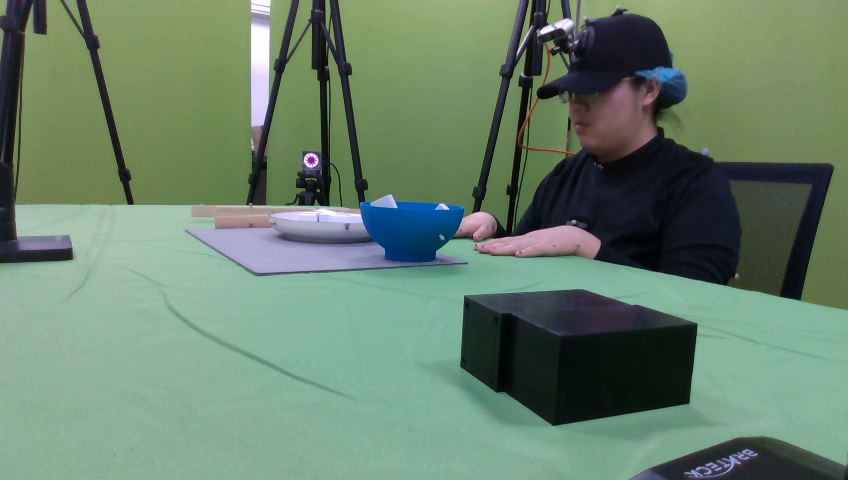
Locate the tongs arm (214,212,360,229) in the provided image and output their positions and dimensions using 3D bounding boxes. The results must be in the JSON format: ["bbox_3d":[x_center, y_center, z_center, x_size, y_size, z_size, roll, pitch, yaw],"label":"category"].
[{"bbox_3d":[-0.243,-0.043,1.237,0.390,0.028,0.028,-4,8,-44],"label":"tongs arm"}]

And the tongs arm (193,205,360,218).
[{"bbox_3d":[-0.289,-0.057,1.299,0.387,0.026,0.050,-1,9,-32],"label":"tongs arm"}]

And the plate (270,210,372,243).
[{"bbox_3d":[-0.161,-0.023,1.055,0.208,0.039,0.207,2,7,0],"label":"plate"}]

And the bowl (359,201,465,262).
[{"bbox_3d":[-0.018,-0.013,0.859,0.151,0.077,0.151,2,7,0],"label":"bowl"}]
